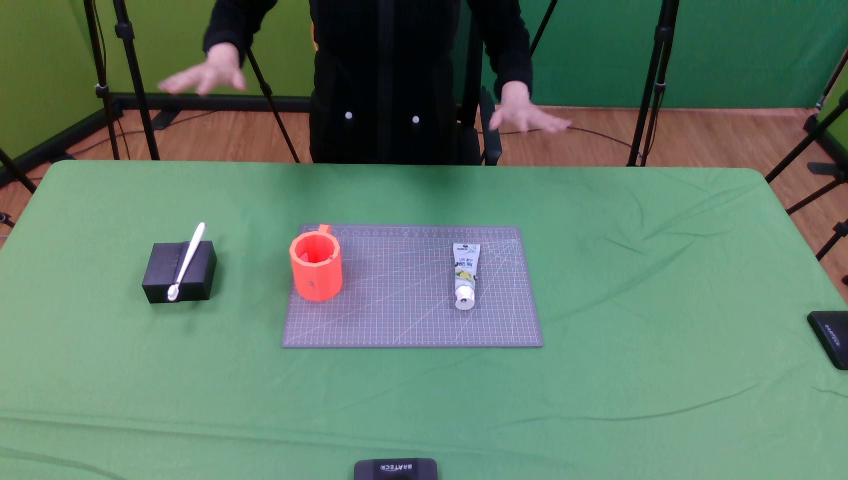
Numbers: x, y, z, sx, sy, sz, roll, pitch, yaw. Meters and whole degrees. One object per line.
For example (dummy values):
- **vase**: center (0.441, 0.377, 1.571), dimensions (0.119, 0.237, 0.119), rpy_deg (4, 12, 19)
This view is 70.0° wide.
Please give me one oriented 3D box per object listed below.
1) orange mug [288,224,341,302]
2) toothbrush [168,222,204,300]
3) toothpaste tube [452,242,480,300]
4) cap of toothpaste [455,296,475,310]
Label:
- **orange mug**: center (-0.192, 0.034, 1.094), dimensions (0.083, 0.101, 0.125), rpy_deg (7, 50, 2)
- **toothbrush**: center (-0.419, 0.032, 1.070), dimensions (0.014, 0.017, 0.180), rpy_deg (2, 46, 1)
- **toothpaste tube**: center (0.079, 0.058, 1.142), dimensions (0.055, 0.034, 0.164), rpy_deg (9, 42, -3)
- **cap of toothpaste**: center (0.072, 0.111, 1.081), dimensions (0.037, 0.037, 0.011), rpy_deg (-2, 47, -6)
